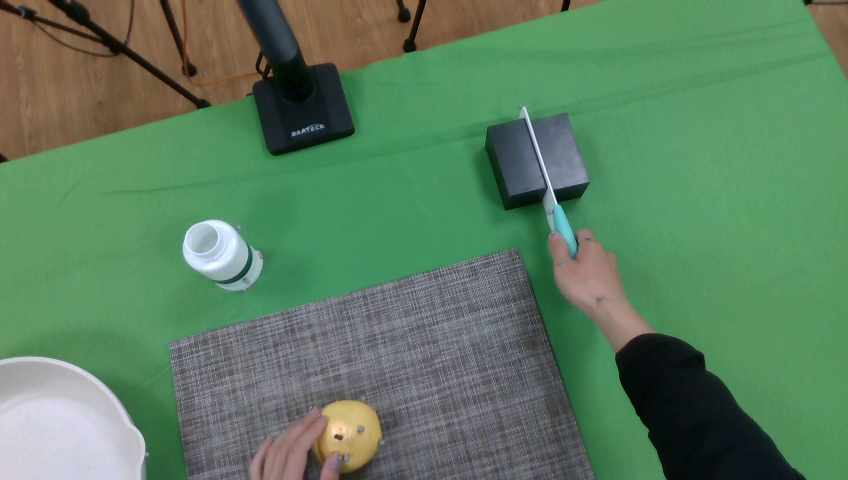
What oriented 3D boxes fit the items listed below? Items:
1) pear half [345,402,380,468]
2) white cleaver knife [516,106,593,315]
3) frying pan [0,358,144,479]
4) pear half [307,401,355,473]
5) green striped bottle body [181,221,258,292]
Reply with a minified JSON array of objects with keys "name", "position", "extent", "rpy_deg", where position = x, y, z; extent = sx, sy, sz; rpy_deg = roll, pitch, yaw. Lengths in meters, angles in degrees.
[{"name":"pear half","position":[-0.066,0.213,0.668],"extent":[0.031,0.088,0.070],"rpy_deg":[-10,70,-3]},{"name":"white cleaver knife","position":[0.159,-0.043,0.761],"extent":[0.021,0.066,0.284],"rpy_deg":[-15,70,4]},{"name":"frying pan","position":[-0.411,0.366,0.621],"extent":[0.307,0.103,0.483],"rpy_deg":[-20,65,-5]},{"name":"pear half","position":[-0.101,0.214,0.657],"extent":[0.056,0.110,0.076],"rpy_deg":[-10,69,-2]},{"name":"green striped bottle body","position":[-0.244,0.019,0.720],"extent":[0.063,0.120,0.063],"rpy_deg":[0,71,1]}]
